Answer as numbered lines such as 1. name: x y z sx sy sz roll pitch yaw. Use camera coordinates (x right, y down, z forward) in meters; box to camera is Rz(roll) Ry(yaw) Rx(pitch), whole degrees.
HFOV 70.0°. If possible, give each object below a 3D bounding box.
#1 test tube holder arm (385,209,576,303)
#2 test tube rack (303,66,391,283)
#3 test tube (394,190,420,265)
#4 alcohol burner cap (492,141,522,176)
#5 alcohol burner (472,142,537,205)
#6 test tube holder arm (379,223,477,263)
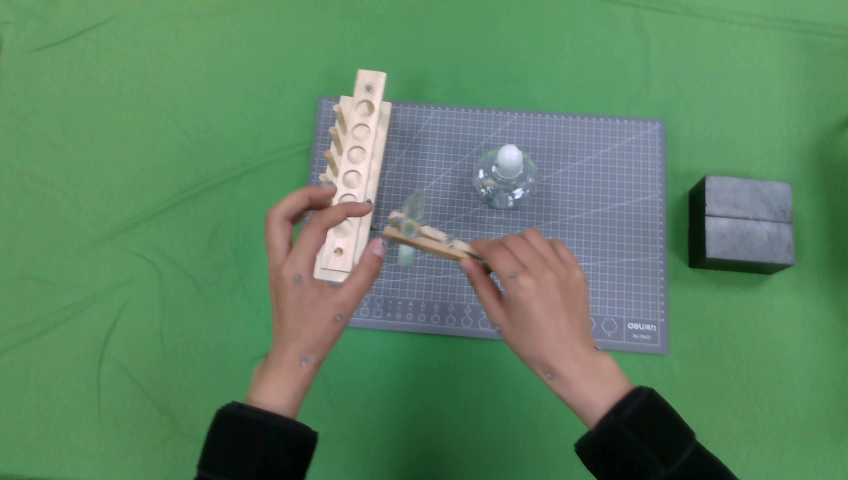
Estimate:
1. test tube holder arm: 0.048 0.014 0.527 0.178 0.015 0.013 23 74 3
2. test tube rack: -0.095 -0.078 0.721 0.067 0.085 0.241 8 76 3
3. test tube: -0.016 -0.006 0.535 0.017 0.151 0.017 2 70 -4
4. alcohol burner cap: 0.093 -0.093 0.672 0.034 0.048 0.033 0 80 3
5. alcohol burner: 0.095 -0.083 0.706 0.078 0.119 0.077 0 77 2
6. test tube holder arm: 0.004 0.003 0.527 0.088 0.015 0.010 15 73 1
